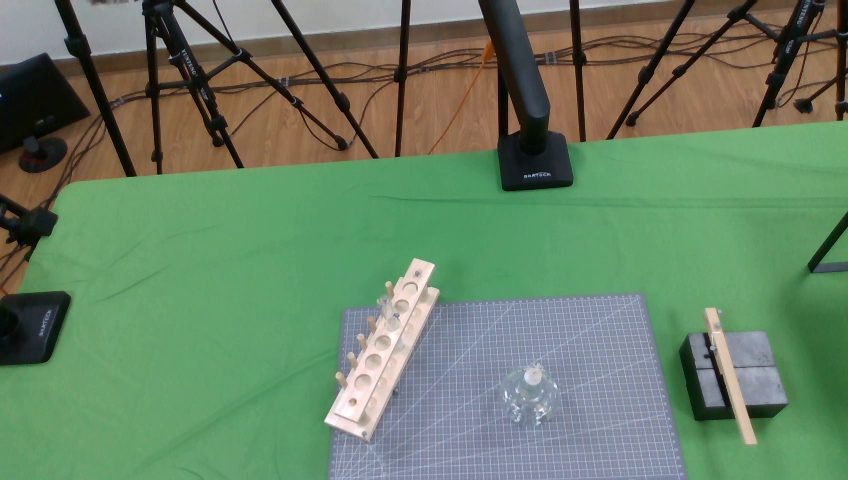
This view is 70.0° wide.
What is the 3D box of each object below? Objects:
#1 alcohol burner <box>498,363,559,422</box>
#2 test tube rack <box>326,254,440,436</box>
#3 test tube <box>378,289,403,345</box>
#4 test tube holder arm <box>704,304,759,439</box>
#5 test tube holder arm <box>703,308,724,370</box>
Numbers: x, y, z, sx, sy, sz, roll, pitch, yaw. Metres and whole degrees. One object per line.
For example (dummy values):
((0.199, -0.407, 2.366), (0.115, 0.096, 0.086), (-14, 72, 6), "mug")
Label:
((0.134, 0.186, 0.767), (0.078, 0.120, 0.077), (-2, 55, 3), "alcohol burner")
((-0.058, 0.136, 0.838), (0.066, 0.086, 0.241), (17, 60, 18), "test tube rack")
((-0.042, 0.105, 0.797), (0.017, 0.151, 0.017), (-2, 58, 4), "test tube")
((0.380, 0.158, 0.754), (0.015, 0.013, 0.176), (-10, 51, 12), "test tube holder arm")
((0.381, 0.126, 0.785), (0.015, 0.010, 0.087), (-10, 51, 12), "test tube holder arm")
